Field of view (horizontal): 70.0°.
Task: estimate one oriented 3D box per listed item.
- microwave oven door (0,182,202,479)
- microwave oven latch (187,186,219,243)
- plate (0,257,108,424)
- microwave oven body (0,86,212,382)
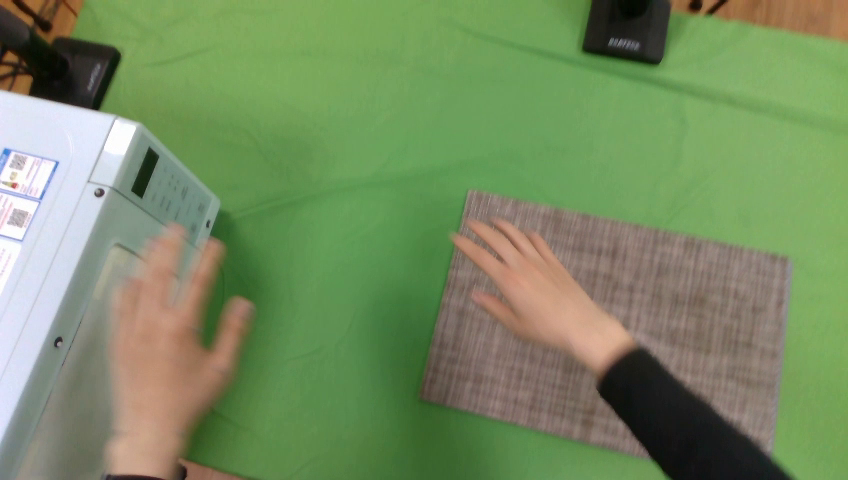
[{"bbox_3d":[-0.379,0.136,0.700,0.039,0.245,0.354,13,75,7],"label":"microwave oven door"},{"bbox_3d":[-0.315,-0.038,0.852,0.030,0.029,0.079,16,76,7],"label":"microwave oven latch"},{"bbox_3d":[-0.502,0.127,0.774,0.209,0.038,0.208,0,76,2],"label":"plate"},{"bbox_3d":[-0.509,0.065,0.732,0.325,0.261,0.439,13,76,6],"label":"microwave oven body"}]
